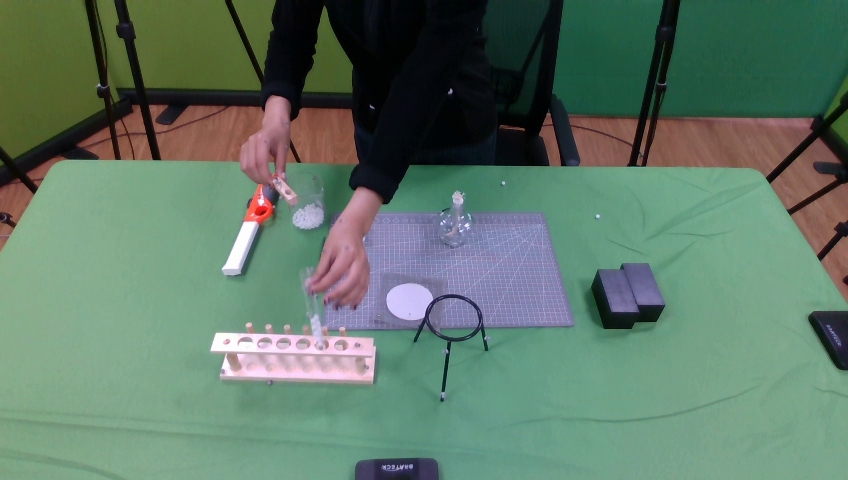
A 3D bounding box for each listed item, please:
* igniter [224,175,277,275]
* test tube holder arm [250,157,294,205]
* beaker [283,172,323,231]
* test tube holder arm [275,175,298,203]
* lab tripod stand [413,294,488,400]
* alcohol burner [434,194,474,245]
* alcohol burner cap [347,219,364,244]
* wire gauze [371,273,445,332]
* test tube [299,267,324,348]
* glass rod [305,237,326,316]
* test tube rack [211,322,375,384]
[{"bbox_3d":[-0.341,-0.039,1.206,0.057,0.025,0.275,-1,45,8],"label":"igniter"},{"bbox_3d":[-0.266,-0.105,1.052,0.013,0.015,0.177,-24,41,-27],"label":"test tube holder arm"},{"bbox_3d":[-0.235,-0.073,1.199,0.084,0.101,0.074,24,49,17],"label":"beaker"},{"bbox_3d":[-0.235,-0.087,1.024,0.010,0.015,0.087,-24,41,-26],"label":"test tube holder arm"},{"bbox_3d":[0.045,0.159,0.972,0.148,0.132,0.147,3,44,-2],"label":"lab tripod stand"},{"bbox_3d":[0.061,-0.046,1.183,0.078,0.119,0.077,3,47,-3],"label":"alcohol burner"},{"bbox_3d":[-0.135,-0.019,1.190,0.034,0.048,0.033,3,45,-3],"label":"alcohol burner cap"},{"bbox_3d":[-0.028,0.108,1.100,0.125,0.011,0.121,8,45,4],"label":"wire gauze"},{"bbox_3d":[-0.165,0.102,0.890,0.017,0.151,0.017,-2,36,2],"label":"test tube"},{"bbox_3d":[-0.202,0.063,1.131,0.008,0.008,0.198,4,44,0],"label":"glass rod"},{"bbox_3d":[-0.203,0.176,0.969,0.242,0.085,0.066,3,46,-2],"label":"test tube rack"}]
